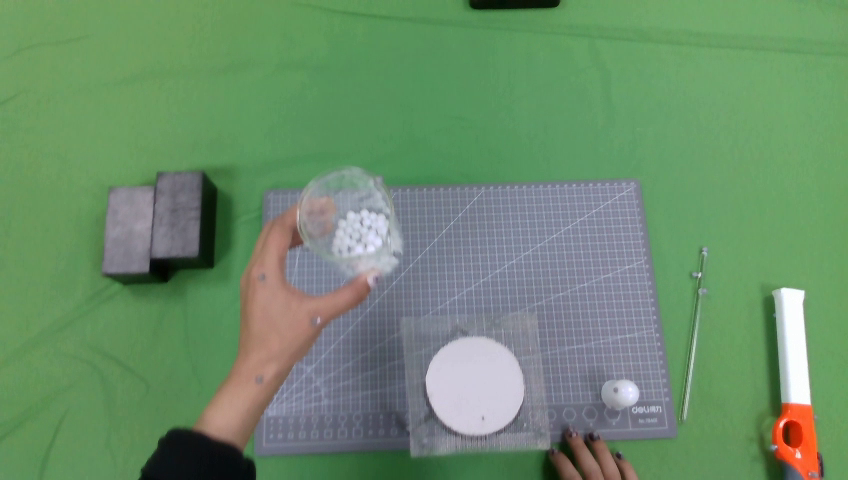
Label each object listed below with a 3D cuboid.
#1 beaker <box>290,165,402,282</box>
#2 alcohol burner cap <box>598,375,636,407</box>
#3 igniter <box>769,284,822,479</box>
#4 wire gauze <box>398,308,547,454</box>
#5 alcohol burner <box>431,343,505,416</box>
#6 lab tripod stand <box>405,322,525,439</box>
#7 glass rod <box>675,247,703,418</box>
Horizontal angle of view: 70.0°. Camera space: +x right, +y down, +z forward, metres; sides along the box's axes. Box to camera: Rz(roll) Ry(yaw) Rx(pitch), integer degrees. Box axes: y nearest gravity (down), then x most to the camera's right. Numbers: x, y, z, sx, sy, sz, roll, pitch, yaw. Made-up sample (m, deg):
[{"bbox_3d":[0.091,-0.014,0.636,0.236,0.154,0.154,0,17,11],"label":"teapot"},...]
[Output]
[{"bbox_3d":[-0.055,-0.006,0.497,0.083,0.101,0.074,42,81,13],"label":"beaker"},{"bbox_3d":[0.207,0.160,0.645,0.034,0.048,0.033,0,72,0],"label":"alcohol burner cap"},{"bbox_3d":[0.398,0.184,0.655,0.057,0.025,0.275,9,74,-11],"label":"igniter"},{"bbox_3d":[0.042,0.121,0.532,0.125,0.011,0.120,-2,73,-3],"label":"wire gauze"},{"bbox_3d":[0.046,0.136,0.609,0.078,0.119,0.077,1,72,-2],"label":"alcohol burner"},{"bbox_3d":[0.041,0.143,0.596,0.148,0.132,0.147,0,73,0],"label":"lab tripod stand"},{"bbox_3d":[0.300,0.101,0.685,0.008,0.008,0.199,14,75,2],"label":"glass rod"}]
